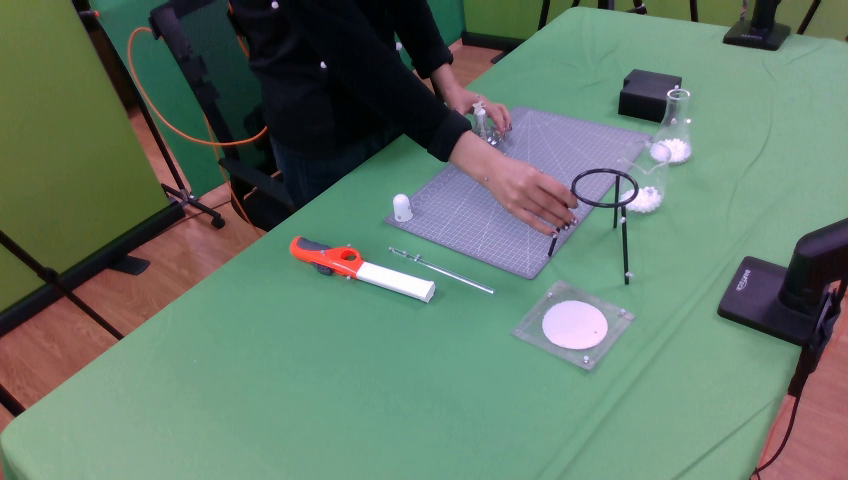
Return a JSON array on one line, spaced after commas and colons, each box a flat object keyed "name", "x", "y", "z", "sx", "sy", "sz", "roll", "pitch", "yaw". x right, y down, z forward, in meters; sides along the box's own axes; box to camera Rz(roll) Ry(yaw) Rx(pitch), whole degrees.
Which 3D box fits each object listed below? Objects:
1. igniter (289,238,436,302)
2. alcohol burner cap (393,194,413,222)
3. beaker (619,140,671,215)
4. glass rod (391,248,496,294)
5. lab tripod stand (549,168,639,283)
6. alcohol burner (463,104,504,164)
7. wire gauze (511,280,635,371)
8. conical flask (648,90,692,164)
[{"name": "igniter", "x": -0.106, "y": 0.043, "z": 0.949, "sx": 0.274, "sy": 0.025, "sz": 0.057, "roll": 16, "pitch": 57, "yaw": 27}, {"name": "alcohol burner cap", "x": -0.038, "y": -0.057, "z": 1.038, "sx": 0.034, "sy": 0.048, "sz": 0.033, "roll": -5, "pitch": 41, "yaw": 5}, {"name": "beaker", "x": 0.352, "y": -0.096, "z": 0.971, "sx": 0.074, "sy": 0.101, "sz": 0.084, "roll": 1, "pitch": 42, "yaw": 13}, {"name": "glass rod", "x": 0.026, "y": 0.045, "z": 0.936, "sx": 0.198, "sy": 0.008, "sz": 0.008, "roll": 21, "pitch": 49, "yaw": 32}, {"name": "lab tripod stand", "x": 0.258, "y": -0.029, "z": 0.878, "sx": 0.148, "sy": 0.132, "sz": 0.147, "roll": -5, "pitch": 39, "yaw": 4}, {"name": "alcohol burner", "x": 0.109, "y": -0.202, "z": 1.126, "sx": 0.078, "sy": 0.119, "sz": 0.077, "roll": -5, "pitch": 42, "yaw": 5}, {"name": "wire gauze", "x": 0.203, "y": 0.114, "z": 0.822, "sx": 0.120, "sy": 0.011, "sz": 0.125, "roll": 25, "pitch": 53, "yaw": 35}, {"name": "conical flask", "x": 0.437, "y": -0.199, "z": 1.057, "sx": 0.075, "sy": 0.122, "sz": 0.075, "roll": -5, "pitch": 40, "yaw": 5}]
